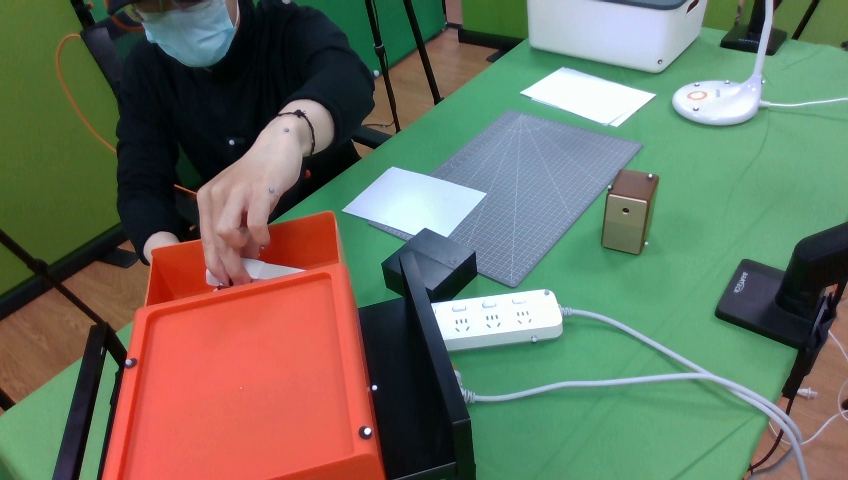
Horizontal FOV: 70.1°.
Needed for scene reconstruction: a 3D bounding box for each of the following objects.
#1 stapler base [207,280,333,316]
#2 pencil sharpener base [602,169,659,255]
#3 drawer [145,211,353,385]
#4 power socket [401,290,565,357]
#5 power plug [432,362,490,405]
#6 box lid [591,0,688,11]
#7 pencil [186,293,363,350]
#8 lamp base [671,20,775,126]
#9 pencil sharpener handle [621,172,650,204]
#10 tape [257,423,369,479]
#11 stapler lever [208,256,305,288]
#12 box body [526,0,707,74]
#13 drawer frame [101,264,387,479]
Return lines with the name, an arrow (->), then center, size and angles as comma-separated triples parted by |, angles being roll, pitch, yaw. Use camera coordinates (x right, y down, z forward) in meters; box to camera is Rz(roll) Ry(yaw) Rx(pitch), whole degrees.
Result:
stapler base -> -0.163, 0.058, 0.636 | 0.130, 0.024, 0.041 | 1, 41, 3
pencil sharpener base -> 0.312, -0.044, 0.913 | 0.061, 0.107, 0.077 | 14, 44, 24
drawer -> -0.168, 0.077, 0.587 | 0.195, 0.073, 0.210 | -12, 41, -6
power socket -> 0.080, 0.113, 0.821 | 0.227, 0.033, 0.072 | -6, 41, 0
power plug -> 0.044, 0.182, 0.759 | 0.073, 0.035, 0.052 | 24, 42, -20
box lid -> 0.441, -0.595, 1.383 | 0.368, 0.015, 0.264 | 24, 49, 31
pencil -> -0.153, 0.080, 0.610 | 0.193, 0.012, 0.012 | 15, 44, 8
lamp base -> 0.582, -0.331, 1.153 | 0.179, 0.181, 0.160 | 2, 41, 7
pencil sharpener handle -> 0.328, -0.086, 0.940 | 0.036, 0.068, 0.030 | 30, 49, 7
tape -> -0.120, 0.262, 0.659 | 0.117, 0.053, 0.116 | -4, 40, 4
stapler lever -> -0.162, 0.038, 0.621 | 0.118, 0.040, 0.026 | 1, 41, 3
box body -> 0.450, -0.540, 1.429 | 0.361, 0.161, 0.255 | 24, 50, 31
drawer frame -> -0.146, 0.132, 0.516 | 0.202, 0.083, 0.212 | -12, 41, -7
